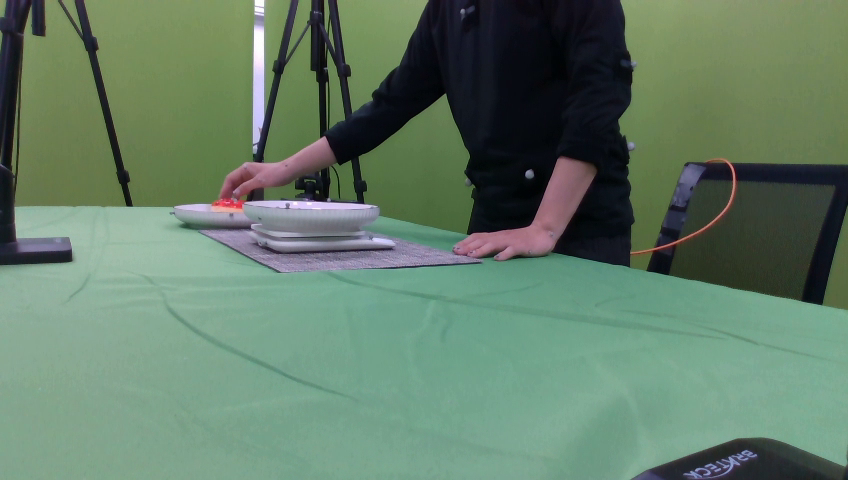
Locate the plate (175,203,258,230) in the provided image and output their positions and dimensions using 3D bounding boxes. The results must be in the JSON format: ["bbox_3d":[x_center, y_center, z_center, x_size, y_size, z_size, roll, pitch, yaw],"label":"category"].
[{"bbox_3d":[-0.380,-0.047,1.199,0.208,0.039,0.207,2,7,0],"label":"plate"}]

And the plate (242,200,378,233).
[{"bbox_3d":[-0.176,-0.038,0.939,0.209,0.038,0.209,3,7,0],"label":"plate"}]

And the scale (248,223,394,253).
[{"bbox_3d":[-0.162,-0.006,0.954,0.202,0.031,0.148,-2,8,-32],"label":"scale"}]

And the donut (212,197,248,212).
[{"bbox_3d":[-0.376,-0.061,1.220,0.099,0.048,0.099,5,3,0],"label":"donut"}]

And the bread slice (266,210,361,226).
[{"bbox_3d":[-0.174,-0.035,0.934,0.132,0.019,0.104,-1,7,-28],"label":"bread slice"}]
